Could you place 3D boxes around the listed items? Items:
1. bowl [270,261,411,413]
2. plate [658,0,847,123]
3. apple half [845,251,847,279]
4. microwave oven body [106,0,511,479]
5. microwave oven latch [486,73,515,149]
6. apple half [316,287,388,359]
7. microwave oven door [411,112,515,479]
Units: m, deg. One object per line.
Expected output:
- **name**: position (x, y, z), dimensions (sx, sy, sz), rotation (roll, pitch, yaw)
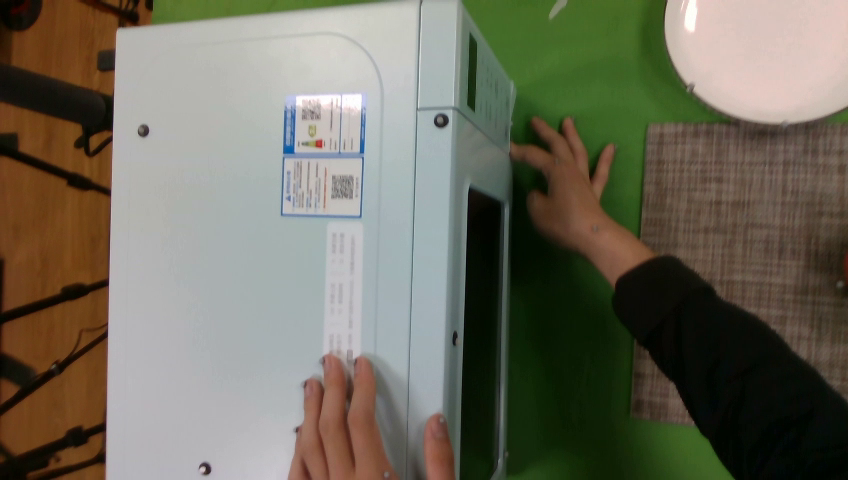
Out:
- **bowl**: position (-0.071, 0.089, 0.615), dimensions (0.150, 0.077, 0.151), rotation (4, 100, 24)
- **plate**: position (0.328, -0.210, 0.564), dimensions (0.207, 0.039, 0.207), rotation (0, 90, 18)
- **apple half**: position (0.394, 0.025, 0.519), dimensions (0.053, 0.075, 0.080), rotation (-18, 87, 23)
- **microwave oven body**: position (-0.097, 0.043, 0.583), dimensions (0.325, 0.261, 0.441), rotation (1, 91, 18)
- **microwave oven latch**: position (0.075, -0.132, 0.629), dimensions (0.030, 0.029, 0.079), rotation (13, 94, 17)
- **apple half**: position (-0.076, 0.089, 0.605), dimensions (0.081, 0.033, 0.081), rotation (4, 106, 15)
- **microwave oven door**: position (0.039, 0.088, 0.533), dimensions (0.039, 0.245, 0.355), rotation (1, 90, 19)
